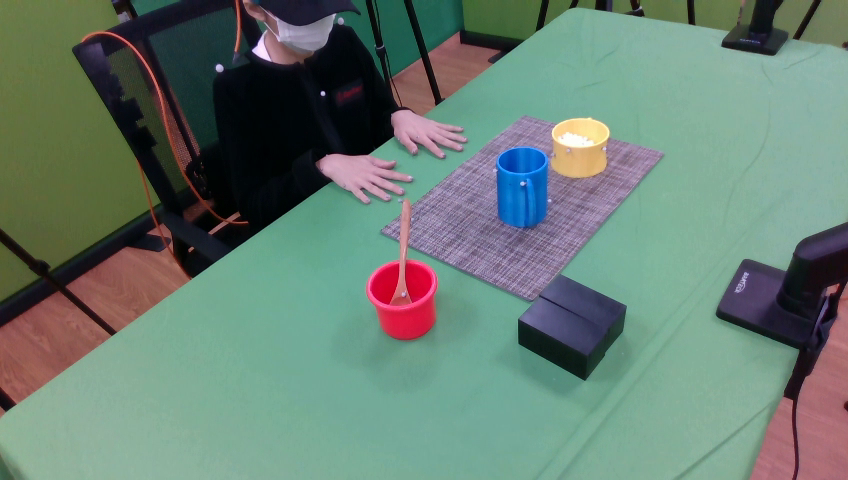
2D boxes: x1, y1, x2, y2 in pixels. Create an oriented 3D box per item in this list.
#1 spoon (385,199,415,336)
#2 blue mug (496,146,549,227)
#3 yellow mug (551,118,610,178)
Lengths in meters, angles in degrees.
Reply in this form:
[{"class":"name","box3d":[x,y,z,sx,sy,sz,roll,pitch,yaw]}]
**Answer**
[{"class":"spoon","box3d":[-0.029,0.037,0.843,0.041,0.022,0.193,2,85,10]},{"class":"blue mug","box3d":[0.162,-0.076,0.969,0.082,0.106,0.116,-9,40,-1]},{"class":"yellow mug","box3d":[0.287,-0.176,1.099,0.099,0.064,0.131,12,43,23]}]
